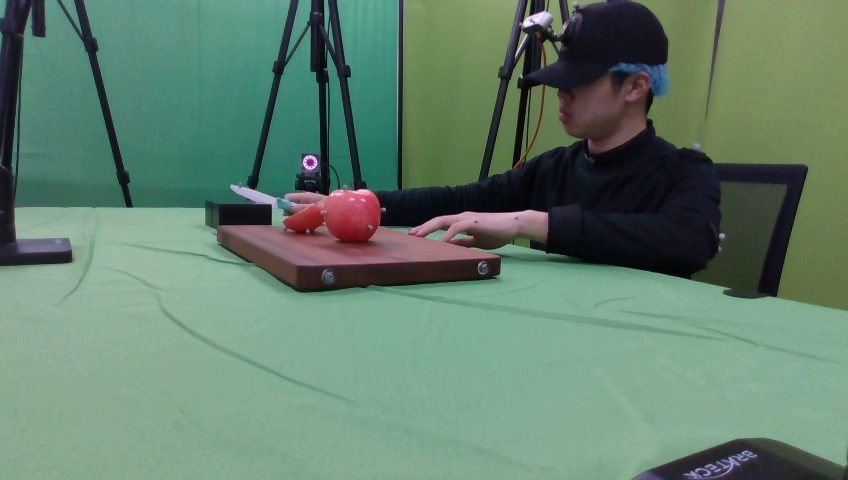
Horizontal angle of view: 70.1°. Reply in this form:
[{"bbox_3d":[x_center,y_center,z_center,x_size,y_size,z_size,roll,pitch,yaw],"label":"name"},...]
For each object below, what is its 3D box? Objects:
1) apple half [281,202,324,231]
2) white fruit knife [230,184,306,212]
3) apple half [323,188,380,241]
[{"bbox_3d":[-0.175,-0.033,0.927,0.081,0.033,0.081,-20,0,0],"label":"apple half"},{"bbox_3d":[-0.300,-0.077,1.242,0.208,0.027,0.016,20,-4,-36],"label":"white fruit knife"},{"bbox_3d":[-0.094,-0.034,0.840,0.081,0.074,0.053,1,10,-38],"label":"apple half"}]
